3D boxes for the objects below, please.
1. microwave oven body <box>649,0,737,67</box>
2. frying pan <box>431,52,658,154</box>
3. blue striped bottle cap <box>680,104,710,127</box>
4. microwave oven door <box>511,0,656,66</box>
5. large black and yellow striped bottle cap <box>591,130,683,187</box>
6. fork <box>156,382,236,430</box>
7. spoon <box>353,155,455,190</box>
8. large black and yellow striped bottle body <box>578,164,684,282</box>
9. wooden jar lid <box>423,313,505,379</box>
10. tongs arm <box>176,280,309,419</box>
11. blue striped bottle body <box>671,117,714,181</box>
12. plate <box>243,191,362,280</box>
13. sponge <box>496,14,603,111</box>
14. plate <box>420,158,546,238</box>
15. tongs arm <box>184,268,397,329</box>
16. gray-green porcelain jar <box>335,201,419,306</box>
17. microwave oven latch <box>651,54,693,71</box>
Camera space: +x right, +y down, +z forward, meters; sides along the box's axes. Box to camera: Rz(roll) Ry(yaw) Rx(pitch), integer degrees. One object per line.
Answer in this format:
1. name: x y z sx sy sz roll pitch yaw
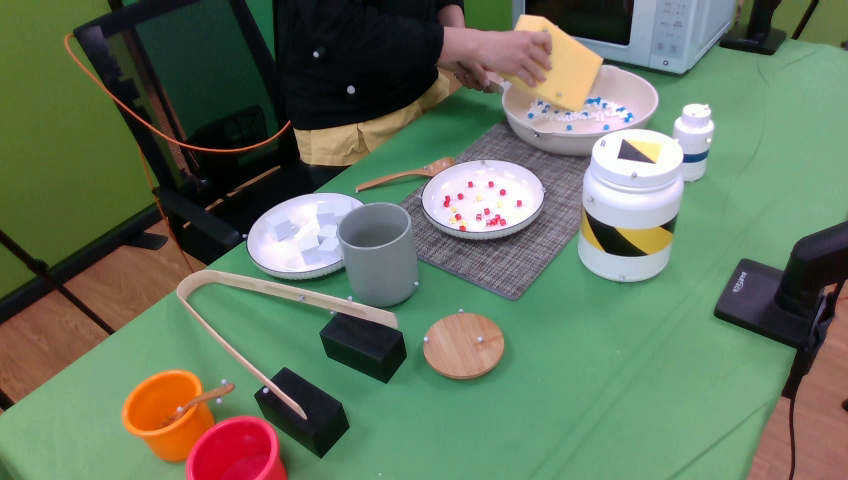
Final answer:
1. microwave oven body: 0.475 -0.602 1.411 0.438 0.261 0.327 23 50 32
2. frying pan: 0.216 -0.302 1.223 0.484 0.103 0.308 29 49 24
3. blue striped bottle cap: 0.443 -0.204 0.989 0.044 0.021 0.044 -2 41 2
4. microwave oven door: 0.351 -0.540 1.349 0.353 0.245 0.039 24 50 31
5. large black and yellow striped bottle cap: 0.282 -0.111 0.803 0.115 0.019 0.114 -3 41 3
6. fork: -0.262 0.190 0.690 0.018 0.206 0.028 48 43 -7
7. spoon: -0.038 -0.123 1.116 0.194 0.022 0.041 -12 58 -4
8. large black and yellow striped bottle body: 0.291 -0.046 0.859 0.131 0.185 0.130 -4 41 4
9. wooden jar lid: 0.053 0.142 0.800 0.108 0.021 0.108 -5 39 4
10. tongs arm: -0.254 0.133 0.801 0.028 0.028 0.384 -41 41 -23
11. blue striped bottle body: 0.449 -0.165 1.022 0.063 0.121 0.063 -5 41 4
12. plate: -0.188 -0.005 0.992 0.207 0.039 0.206 -4 41 4
13. sponge: 0.249 -0.342 1.185 0.209 0.118 0.060 13 13 -41
14. plate: 0.099 -0.067 1.017 0.209 0.038 0.208 -4 40 4
15. tongs arm: -0.202 0.084 0.848 0.382 0.027 0.051 11 45 35
16. gray-green porcelain jar: -0.064 0.024 0.872 0.106 0.127 0.105 -4 41 4
17. microwave oven latch: 0.531 -0.386 1.301 0.078 0.029 0.030 26 51 33
